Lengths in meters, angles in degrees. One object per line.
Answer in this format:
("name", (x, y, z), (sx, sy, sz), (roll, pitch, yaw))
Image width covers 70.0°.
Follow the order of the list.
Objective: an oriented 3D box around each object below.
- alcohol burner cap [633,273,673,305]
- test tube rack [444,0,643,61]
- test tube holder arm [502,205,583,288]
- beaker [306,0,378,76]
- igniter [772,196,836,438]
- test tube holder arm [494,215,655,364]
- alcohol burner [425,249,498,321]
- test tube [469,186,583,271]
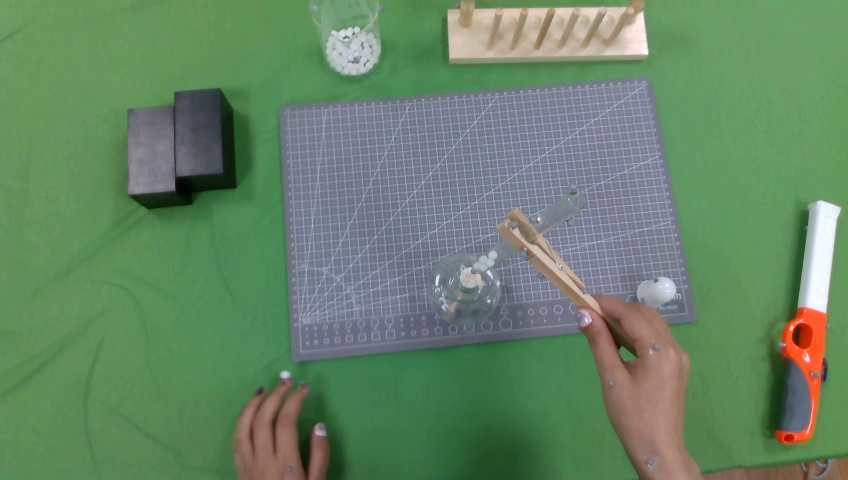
("alcohol burner cap", (0.253, 0.052, 0.665), (0.034, 0.048, 0.033), (1, 76, -2))
("test tube rack", (0.147, -0.264, 0.712), (0.242, 0.085, 0.066), (-2, 78, -2))
("test tube holder arm", (0.096, 0.008, 0.489), (0.088, 0.015, 0.010), (49, 56, -7))
("beaker", (-0.089, -0.238, 0.691), (0.074, 0.100, 0.083), (-3, 78, -2))
("igniter", (0.425, 0.084, 0.674), (0.057, 0.025, 0.275), (17, 77, -8))
("test tube holder arm", (0.124, 0.043, 0.494), (0.179, 0.015, 0.013), (43, 57, -11))
("alcohol burner", (0.041, 0.043, 0.623), (0.078, 0.119, 0.077), (1, 76, -3))
("test tube", (0.076, -0.004, 0.487), (0.017, 0.150, 0.017), (10, 64, -22))
